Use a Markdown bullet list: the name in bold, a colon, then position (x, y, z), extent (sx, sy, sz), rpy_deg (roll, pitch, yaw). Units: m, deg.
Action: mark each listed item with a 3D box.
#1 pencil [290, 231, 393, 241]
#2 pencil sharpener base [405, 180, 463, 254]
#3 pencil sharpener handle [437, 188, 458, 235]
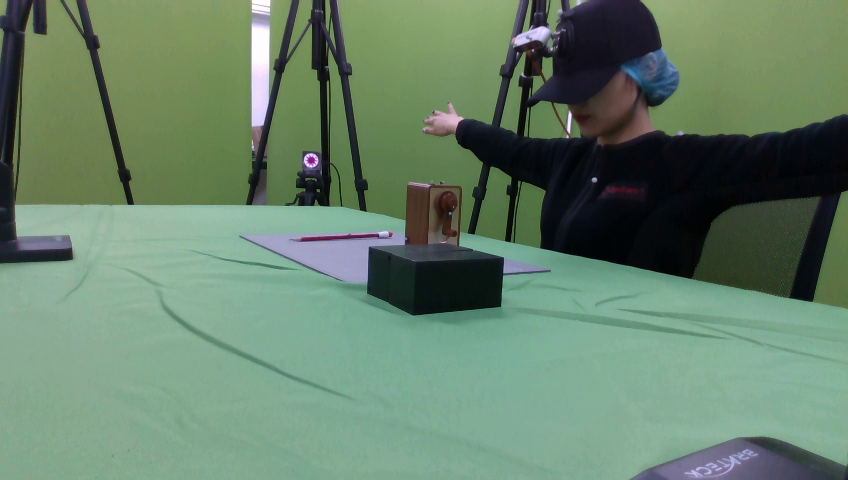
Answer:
- **pencil**: position (-0.136, -0.006, 1.029), extent (0.195, 0.012, 0.012), rpy_deg (-4, 9, -35)
- **pencil sharpener base**: position (0.016, -0.036, 0.922), extent (0.061, 0.107, 0.076), rpy_deg (-1, 9, -30)
- **pencil sharpener handle**: position (0.041, -0.041, 0.876), extent (0.036, 0.067, 0.030), rpy_deg (1, 7, -30)
